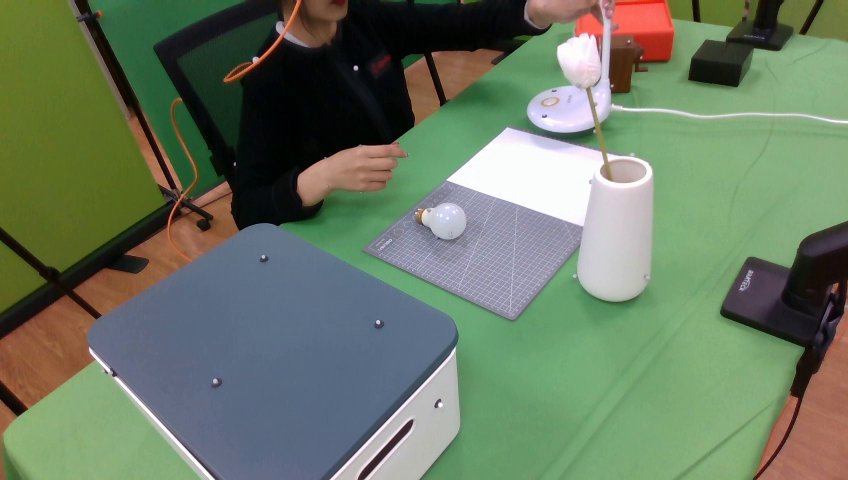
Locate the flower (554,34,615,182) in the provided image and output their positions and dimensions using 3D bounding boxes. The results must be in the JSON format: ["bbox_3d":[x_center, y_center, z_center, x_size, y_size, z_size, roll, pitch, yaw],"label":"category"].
[{"bbox_3d":[0.237,-0.083,0.774,0.044,0.363,0.038,-22,26,7],"label":"flower"}]

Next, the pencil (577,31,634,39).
[{"bbox_3d":[0.431,-0.488,1.443,0.012,0.012,0.192,-25,30,-18],"label":"pencil"}]

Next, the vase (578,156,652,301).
[{"bbox_3d":[0.261,-0.011,0.812,0.098,0.201,0.097,-4,40,4],"label":"vase"}]

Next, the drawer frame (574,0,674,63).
[{"bbox_3d":[0.464,-0.492,1.434,0.213,0.083,0.201,1,40,12],"label":"drawer frame"}]

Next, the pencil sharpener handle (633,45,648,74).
[{"bbox_3d":[0.454,-0.378,1.262,0.030,0.068,0.036,1,47,13],"label":"pencil sharpener handle"}]

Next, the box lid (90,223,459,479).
[{"bbox_3d":[-0.174,0.102,0.666,0.368,0.015,0.264,24,48,35],"label":"box lid"}]

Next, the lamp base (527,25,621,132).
[{"bbox_3d":[0.287,-0.318,1.142,0.179,0.181,0.160,1,42,9],"label":"lamp base"}]

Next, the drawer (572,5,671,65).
[{"bbox_3d":[0.461,-0.490,1.435,0.211,0.073,0.194,2,40,12],"label":"drawer"}]

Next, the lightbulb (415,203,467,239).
[{"bbox_3d":[0.024,-0.034,0.999,0.060,0.060,0.107,-38,32,-30],"label":"lightbulb"}]

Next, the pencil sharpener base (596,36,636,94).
[{"bbox_3d":[0.406,-0.369,1.280,0.076,0.107,0.061,1,41,13],"label":"pencil sharpener base"}]

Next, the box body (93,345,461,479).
[{"bbox_3d":[-0.162,0.170,0.708,0.361,0.161,0.255,25,50,34],"label":"box body"}]
